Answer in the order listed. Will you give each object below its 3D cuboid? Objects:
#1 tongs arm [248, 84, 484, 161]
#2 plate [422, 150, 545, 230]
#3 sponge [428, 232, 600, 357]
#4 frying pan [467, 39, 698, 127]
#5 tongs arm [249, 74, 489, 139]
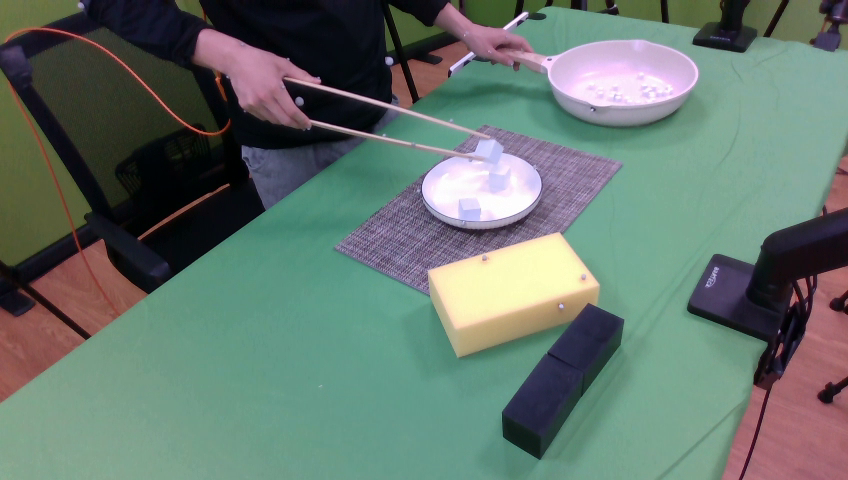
[{"bbox_3d":[-0.090,-0.187,0.968,0.385,0.050,0.026,10,3,-2],"label":"tongs arm"},{"bbox_3d":[0.101,-0.082,1.031,0.207,0.039,0.206,-4,40,4],"label":"plate"},{"bbox_3d":[0.120,0.071,0.834,0.207,0.061,0.117,-15,43,-12],"label":"sponge"},{"bbox_3d":[0.312,-0.359,1.277,0.485,0.103,0.307,23,48,19],"label":"frying pan"},{"bbox_3d":[-0.084,-0.211,0.967,0.388,0.028,0.028,14,6,-2],"label":"tongs arm"}]
